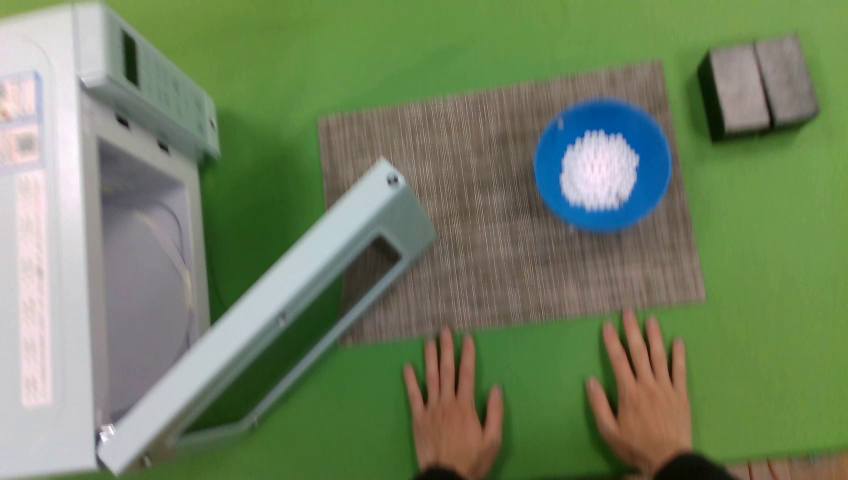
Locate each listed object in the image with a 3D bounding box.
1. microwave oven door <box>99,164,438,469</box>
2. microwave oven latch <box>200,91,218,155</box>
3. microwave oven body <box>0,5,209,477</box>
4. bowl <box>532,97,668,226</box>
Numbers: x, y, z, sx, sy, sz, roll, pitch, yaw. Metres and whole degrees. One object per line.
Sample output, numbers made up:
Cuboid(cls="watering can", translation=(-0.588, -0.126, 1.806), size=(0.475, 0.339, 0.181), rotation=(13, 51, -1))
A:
Cuboid(cls="microwave oven door", translation=(-0.134, 0.083, 0.637), size=(0.355, 0.245, 0.039), rotation=(-45, 77, -2))
Cuboid(cls="microwave oven latch", translation=(-0.293, -0.155, 0.801), size=(0.030, 0.029, 0.079), rotation=(-10, 80, 5))
Cuboid(cls="microwave oven body", translation=(-0.426, 0.024, 0.690), size=(0.326, 0.261, 0.439), rotation=(-10, 80, 5))
Cuboid(cls="bowl", translation=(0.202, -0.083, 0.718), size=(0.151, 0.077, 0.151), rotation=(-1, 80, 8))
